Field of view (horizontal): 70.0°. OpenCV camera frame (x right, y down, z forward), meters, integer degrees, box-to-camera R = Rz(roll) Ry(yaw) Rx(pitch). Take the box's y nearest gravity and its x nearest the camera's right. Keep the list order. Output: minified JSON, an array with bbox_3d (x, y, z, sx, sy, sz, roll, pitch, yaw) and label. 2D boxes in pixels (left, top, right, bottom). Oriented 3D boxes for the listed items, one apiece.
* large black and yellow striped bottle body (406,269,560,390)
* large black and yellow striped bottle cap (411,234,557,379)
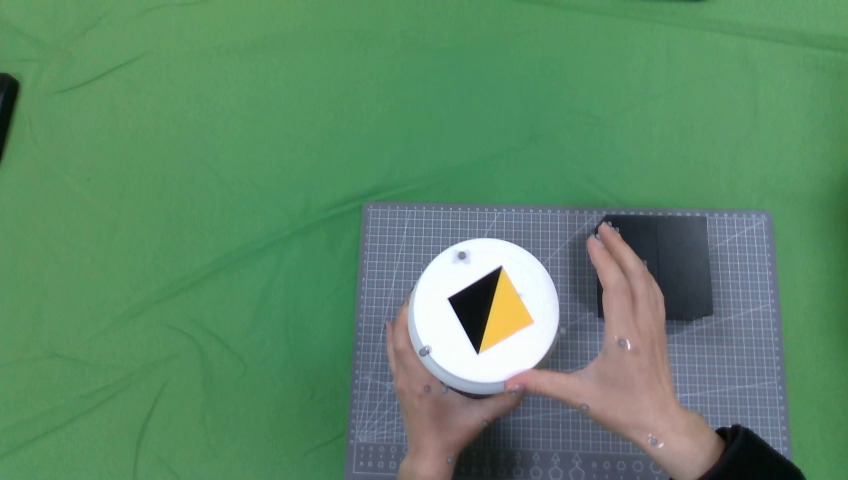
[{"bbox_3d":[0.052,0.072,0.559,0.131,0.185,0.130,-1,77,3],"label":"large black and yellow striped bottle body"},{"bbox_3d":[0.047,0.052,0.477,0.115,0.019,0.114,0,79,1],"label":"large black and yellow striped bottle cap"}]
